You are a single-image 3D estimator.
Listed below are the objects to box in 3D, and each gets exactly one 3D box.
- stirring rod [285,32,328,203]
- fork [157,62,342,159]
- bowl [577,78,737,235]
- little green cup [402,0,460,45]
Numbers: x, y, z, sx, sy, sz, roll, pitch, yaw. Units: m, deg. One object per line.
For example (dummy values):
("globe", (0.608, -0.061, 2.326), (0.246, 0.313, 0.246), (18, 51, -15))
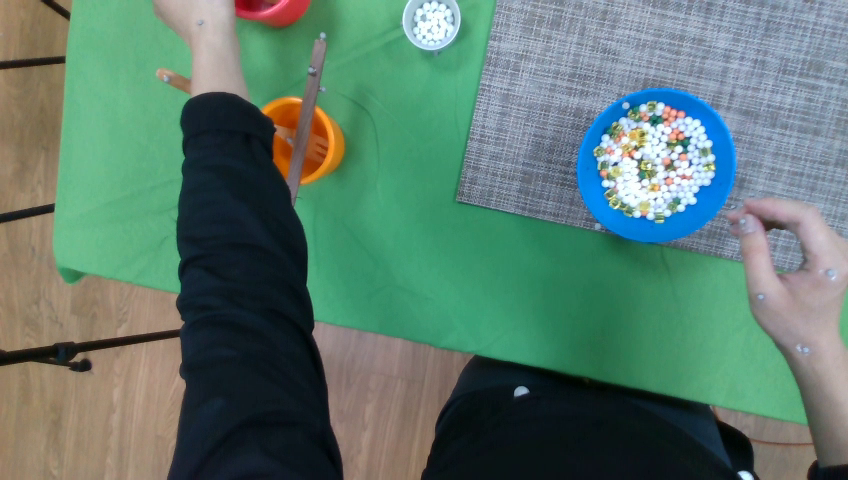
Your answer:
("stirring rod", (-0.121, -0.124, 0.625), (0.014, 0.006, 0.176), (14, 100, 6))
("fork", (-0.174, -0.133, 0.633), (0.209, 0.018, 0.028), (22, 106, -41))
("bowl", (0.230, -0.084, 0.625), (0.151, 0.077, 0.151), (1, 98, 7))
("little green cup", (0.010, -0.240, 0.651), (0.061, 0.038, 0.061), (1, 99, 7))
